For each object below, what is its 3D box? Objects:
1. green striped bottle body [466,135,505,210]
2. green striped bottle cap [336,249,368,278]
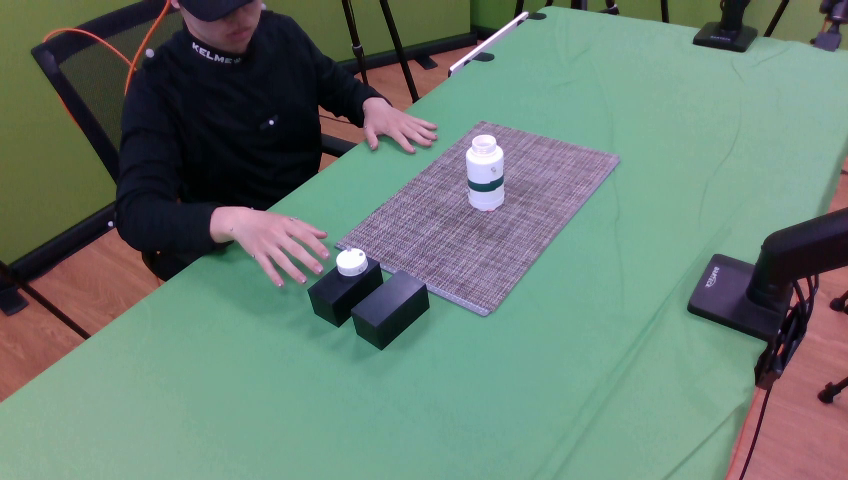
[{"bbox_3d":[0.102,-0.114,1.006,0.063,0.120,0.063,-4,41,4],"label":"green striped bottle body"},{"bbox_3d":[-0.105,0.033,0.873,0.044,0.020,0.044,-6,42,6],"label":"green striped bottle cap"}]
